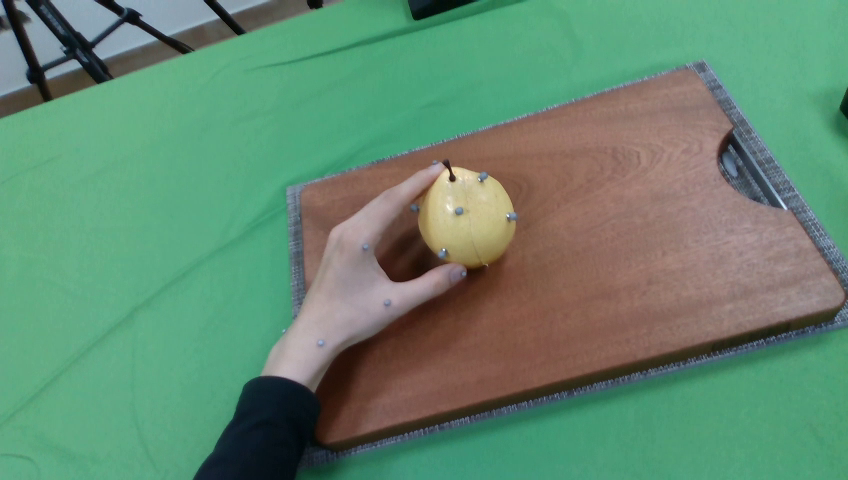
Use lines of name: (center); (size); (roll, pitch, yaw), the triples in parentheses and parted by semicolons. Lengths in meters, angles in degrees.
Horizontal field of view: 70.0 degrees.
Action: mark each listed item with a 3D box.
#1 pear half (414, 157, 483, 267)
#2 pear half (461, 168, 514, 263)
pear half: (0.016, -0.026, 0.479); (0.056, 0.111, 0.075); (-8, 50, 12)
pear half: (0.054, -0.023, 0.479); (0.031, 0.089, 0.070); (-9, 47, 13)
